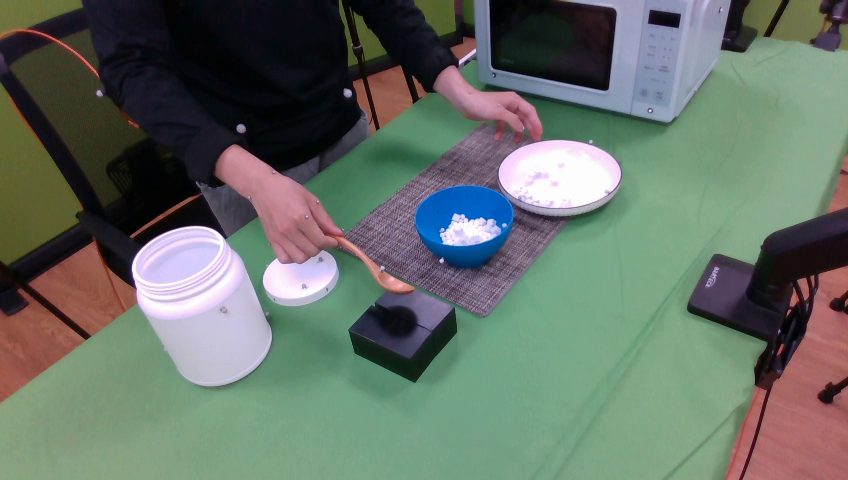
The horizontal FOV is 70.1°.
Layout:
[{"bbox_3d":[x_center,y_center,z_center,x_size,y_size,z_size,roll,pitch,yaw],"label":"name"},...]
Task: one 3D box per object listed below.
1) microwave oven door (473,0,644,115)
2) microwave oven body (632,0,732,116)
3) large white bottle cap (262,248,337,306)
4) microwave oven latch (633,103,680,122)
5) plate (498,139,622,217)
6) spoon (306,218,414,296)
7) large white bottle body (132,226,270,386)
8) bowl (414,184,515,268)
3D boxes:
[{"bbox_3d":[0.257,-0.396,1.199,0.353,0.245,0.039,21,48,29],"label":"microwave oven door"},{"bbox_3d":[0.377,-0.462,1.267,0.438,0.261,0.327,21,49,30],"label":"microwave oven body"},{"bbox_3d":[-0.193,0.056,0.934,0.115,0.018,0.114,-4,41,4],"label":"large white bottle cap"},{"bbox_3d":[0.444,-0.249,1.157,0.078,0.029,0.030,21,49,30],"label":"microwave oven latch"},{"bbox_3d":[0.230,-0.103,1.038,0.209,0.038,0.208,-4,41,4],"label":"plate"},{"bbox_3d":[-0.090,0.020,0.817,0.192,0.021,0.042,38,29,21],"label":"spoon"},{"bbox_3d":[-0.286,0.085,0.784,0.130,0.185,0.130,-4,41,4],"label":"large white bottle body"},{"bbox_3d":[0.063,-0.010,0.922,0.151,0.077,0.150,-4,40,4],"label":"bowl"}]
